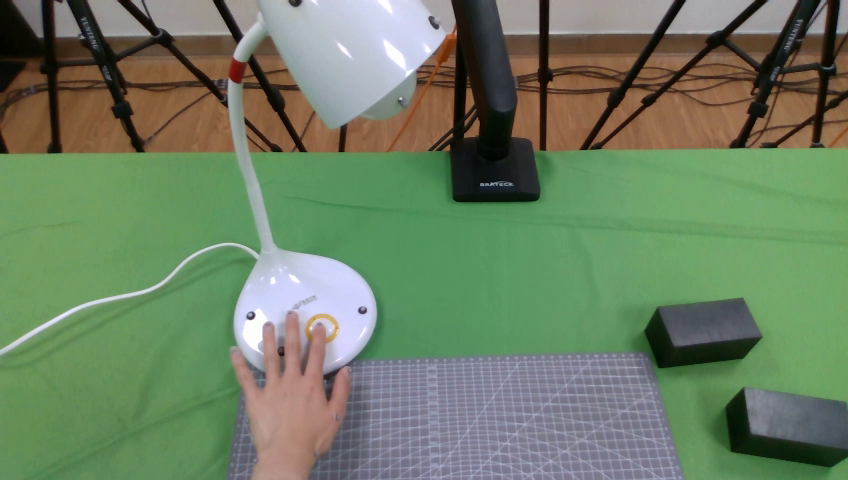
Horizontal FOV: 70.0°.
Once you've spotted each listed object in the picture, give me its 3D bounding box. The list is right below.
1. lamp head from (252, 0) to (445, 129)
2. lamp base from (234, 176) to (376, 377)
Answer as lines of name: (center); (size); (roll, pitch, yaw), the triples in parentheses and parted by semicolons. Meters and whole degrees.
lamp head: (-0.066, -0.156, 0.430); (0.124, 0.112, 0.112); (45, 54, -18)
lamp base: (-0.144, 0.029, 0.641); (0.177, 0.182, 0.160); (36, 58, 28)
